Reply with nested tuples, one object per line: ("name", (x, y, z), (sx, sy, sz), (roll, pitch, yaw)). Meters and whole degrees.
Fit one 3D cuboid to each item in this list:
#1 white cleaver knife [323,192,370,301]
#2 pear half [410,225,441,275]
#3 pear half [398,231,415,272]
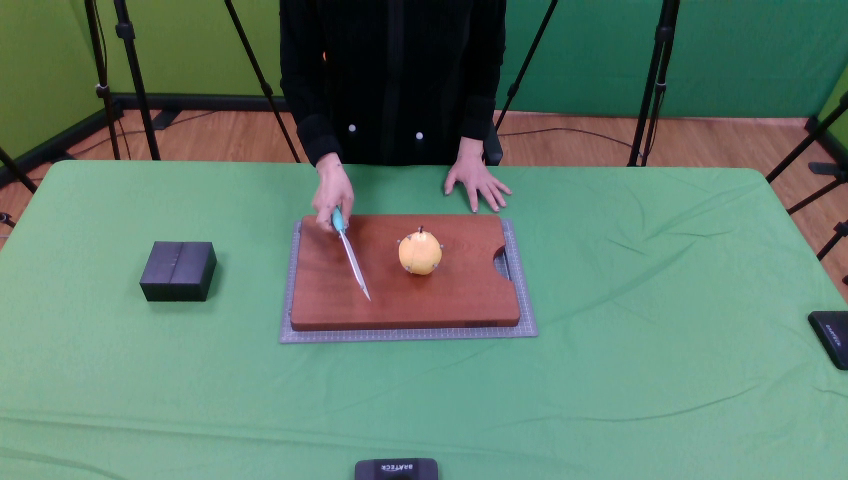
("white cleaver knife", (-0.144, 0.006, 1.098), (0.021, 0.066, 0.284), (-24, 42, -1))
("pear half", (0.004, 0.013, 1.085), (0.056, 0.110, 0.076), (1, 51, -3))
("pear half", (-0.032, 0.017, 1.092), (0.031, 0.088, 0.070), (1, 51, -2))
